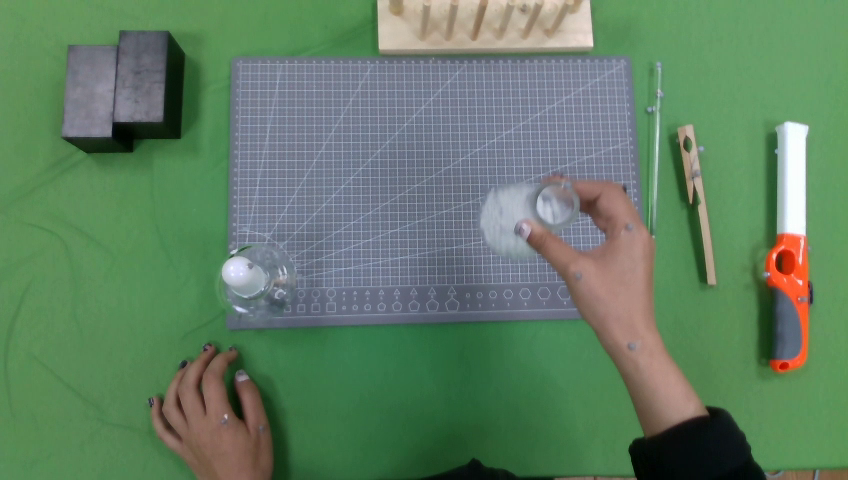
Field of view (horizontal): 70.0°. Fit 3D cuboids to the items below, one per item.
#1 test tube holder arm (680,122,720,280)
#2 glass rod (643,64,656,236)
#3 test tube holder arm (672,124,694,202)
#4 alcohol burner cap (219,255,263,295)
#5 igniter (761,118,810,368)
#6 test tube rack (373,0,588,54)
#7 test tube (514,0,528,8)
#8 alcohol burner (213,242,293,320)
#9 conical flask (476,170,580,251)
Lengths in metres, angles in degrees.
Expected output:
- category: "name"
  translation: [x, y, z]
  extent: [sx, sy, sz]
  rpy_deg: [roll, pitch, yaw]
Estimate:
- category: "test tube holder arm"
  translation: [0.303, -0.044, 0.668]
  extent: [0.013, 0.015, 0.177]
  rpy_deg: [-15, 80, 31]
- category: "glass rod"
  translation: [0.254, -0.103, 0.681]
  extent: [0.008, 0.008, 0.199]
  rpy_deg: [5, 83, -2]
- category: "test tube holder arm"
  translation: [0.291, -0.086, 0.677]
  extent: [0.010, 0.015, 0.087]
  rpy_deg: [-13, 81, 32]
- category: "alcohol burner cap"
  translation: [-0.168, 0.030, 0.548]
  extent: [0.034, 0.048, 0.033]
  rpy_deg: [1, 72, -2]
- category: "igniter"
  translation: [0.396, 0.001, 0.663]
  extent: [0.057, 0.025, 0.275]
  rpy_deg: [8, 81, -11]
- category: "test tube rack"
  translation: [0.066, -0.255, 0.657]
  extent: [0.242, 0.085, 0.066]
  rpy_deg: [-2, 81, -3]
- category: "test tube"
  translation: [0.107, -0.282, 0.613]
  extent: [0.017, 0.151, 0.017]
  rpy_deg: [0, 79, 1]
- category: "alcohol burner"
  translation: [-0.168, 0.037, 0.583]
  extent: [0.078, 0.119, 0.077]
  rpy_deg: [0, 80, -1]
- category: "conical flask"
  translation: [0.091, -0.028, 0.508]
  extent: [0.075, 0.121, 0.075]
  rpy_deg: [0, 89, -7]
